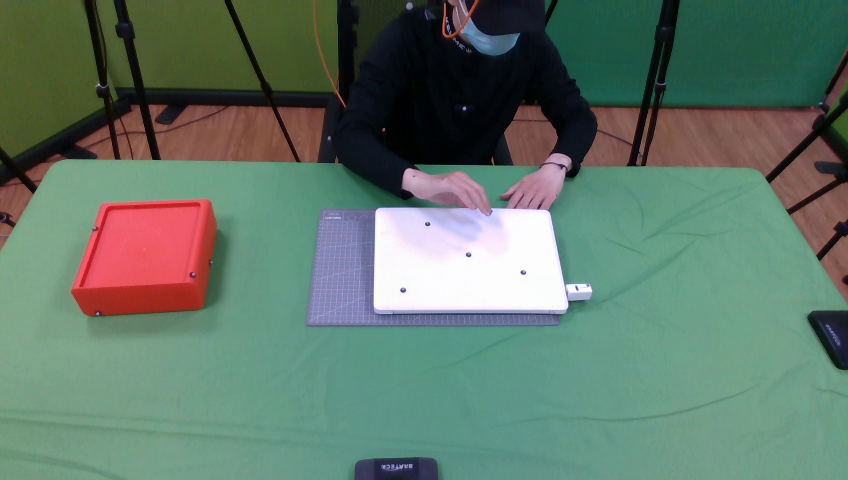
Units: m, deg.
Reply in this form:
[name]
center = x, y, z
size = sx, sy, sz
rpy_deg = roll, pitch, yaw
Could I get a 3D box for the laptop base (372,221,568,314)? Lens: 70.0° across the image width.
[laptop base]
center = 0.080, 0.049, 1.158
size = 0.355, 0.023, 0.234
rpy_deg = 0, 43, -4

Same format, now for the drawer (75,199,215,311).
[drawer]
center = -0.494, 0.022, 1.097
size = 0.195, 0.073, 0.210
rpy_deg = -2, 47, -8

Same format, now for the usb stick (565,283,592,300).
[usb stick]
center = 0.276, 0.094, 1.111
size = 0.059, 0.027, 0.021
rpy_deg = -5, 47, -4

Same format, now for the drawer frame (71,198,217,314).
[drawer frame]
center = -0.493, 0.023, 1.095
size = 0.202, 0.083, 0.212
rpy_deg = -3, 47, -8

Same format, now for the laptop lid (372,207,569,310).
[laptop lid]
center = 0.081, 0.029, 1.138
size = 0.357, 0.013, 0.240
rpy_deg = 2, 54, -3
